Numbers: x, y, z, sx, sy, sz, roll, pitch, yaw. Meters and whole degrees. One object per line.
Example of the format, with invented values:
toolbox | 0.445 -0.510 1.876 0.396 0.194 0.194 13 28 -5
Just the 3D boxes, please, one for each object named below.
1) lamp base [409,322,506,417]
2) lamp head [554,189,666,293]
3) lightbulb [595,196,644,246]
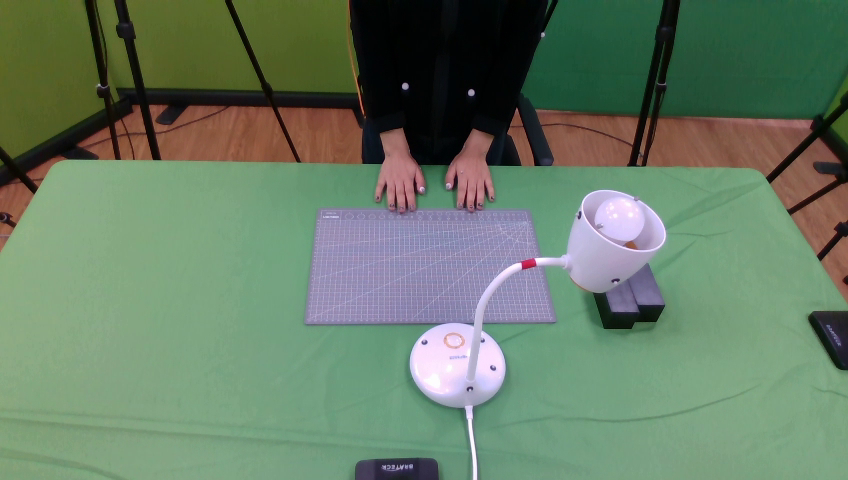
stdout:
lamp base | 0.063 0.160 0.941 0.161 0.181 0.178 -10 50 -13
lamp head | 0.234 0.012 0.796 0.113 0.123 0.111 13 43 -13
lightbulb | 0.244 -0.008 0.784 0.059 0.108 0.059 8 40 -7
